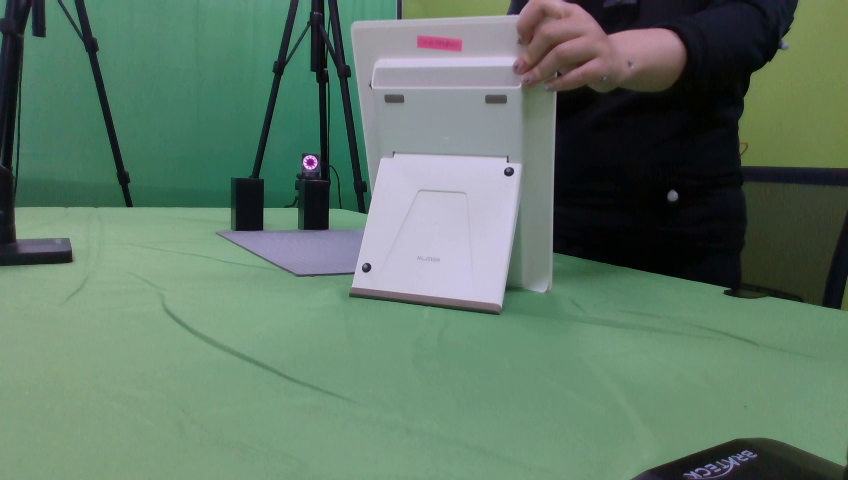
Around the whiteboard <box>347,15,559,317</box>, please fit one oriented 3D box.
[{"bbox_3d":[0.012,-0.056,0.609,0.216,0.305,0.144,5,26,19],"label":"whiteboard"}]

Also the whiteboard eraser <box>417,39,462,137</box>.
[{"bbox_3d":[0.017,-0.161,0.644,0.041,0.101,0.019,2,26,20],"label":"whiteboard eraser"}]
